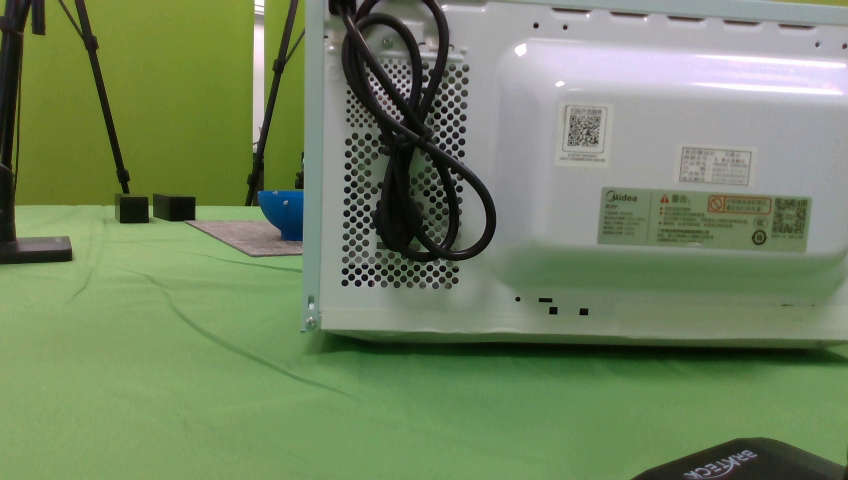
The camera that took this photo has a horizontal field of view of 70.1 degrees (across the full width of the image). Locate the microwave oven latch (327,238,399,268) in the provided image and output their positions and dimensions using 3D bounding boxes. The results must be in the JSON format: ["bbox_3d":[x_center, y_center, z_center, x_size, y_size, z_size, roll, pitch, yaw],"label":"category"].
[{"bbox_3d":[-0.069,0.014,0.694,0.079,0.029,0.030,3,7,-3],"label":"microwave oven latch"}]

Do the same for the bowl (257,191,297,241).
[{"bbox_3d":[-0.206,-0.041,1.027,0.151,0.077,0.151,3,8,0],"label":"bowl"}]

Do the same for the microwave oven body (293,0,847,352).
[{"bbox_3d":[0.122,-0.055,0.550,0.442,0.260,0.325,3,7,-5],"label":"microwave oven body"}]

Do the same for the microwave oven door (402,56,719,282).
[{"bbox_3d":[0.157,-0.078,0.691,0.356,0.243,0.039,2,4,-5],"label":"microwave oven door"}]
